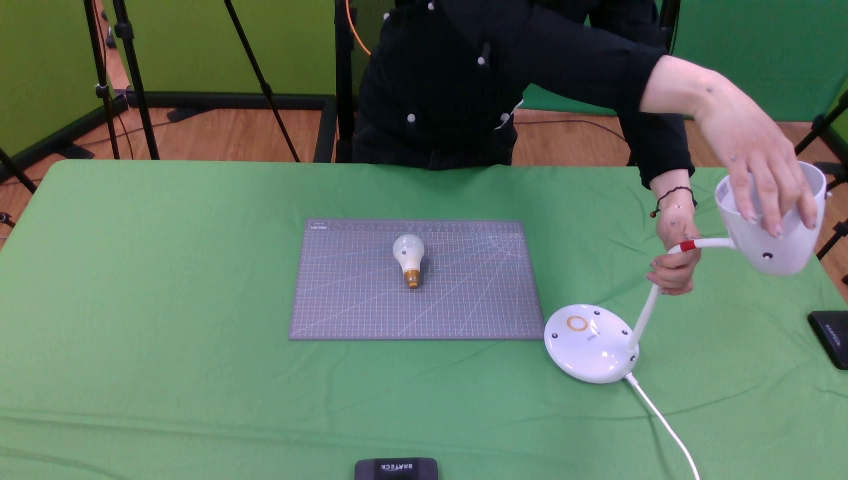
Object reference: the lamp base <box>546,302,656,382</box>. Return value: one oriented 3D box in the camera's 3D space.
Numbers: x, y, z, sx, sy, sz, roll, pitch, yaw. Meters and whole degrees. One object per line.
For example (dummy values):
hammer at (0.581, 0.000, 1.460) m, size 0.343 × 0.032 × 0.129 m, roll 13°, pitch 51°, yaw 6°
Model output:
lamp base at (0.303, 0.127, 0.982) m, size 0.160 × 0.181 × 0.178 m, roll -34°, pitch 60°, yaw -29°

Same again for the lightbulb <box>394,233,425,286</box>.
lightbulb at (-0.024, 0.037, 1.134) m, size 0.059 × 0.060 × 0.107 m, roll -4°, pitch 62°, yaw -7°

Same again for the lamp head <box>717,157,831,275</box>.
lamp head at (0.408, -0.019, 0.711) m, size 0.112 × 0.123 × 0.112 m, roll -16°, pitch 35°, yaw 11°
